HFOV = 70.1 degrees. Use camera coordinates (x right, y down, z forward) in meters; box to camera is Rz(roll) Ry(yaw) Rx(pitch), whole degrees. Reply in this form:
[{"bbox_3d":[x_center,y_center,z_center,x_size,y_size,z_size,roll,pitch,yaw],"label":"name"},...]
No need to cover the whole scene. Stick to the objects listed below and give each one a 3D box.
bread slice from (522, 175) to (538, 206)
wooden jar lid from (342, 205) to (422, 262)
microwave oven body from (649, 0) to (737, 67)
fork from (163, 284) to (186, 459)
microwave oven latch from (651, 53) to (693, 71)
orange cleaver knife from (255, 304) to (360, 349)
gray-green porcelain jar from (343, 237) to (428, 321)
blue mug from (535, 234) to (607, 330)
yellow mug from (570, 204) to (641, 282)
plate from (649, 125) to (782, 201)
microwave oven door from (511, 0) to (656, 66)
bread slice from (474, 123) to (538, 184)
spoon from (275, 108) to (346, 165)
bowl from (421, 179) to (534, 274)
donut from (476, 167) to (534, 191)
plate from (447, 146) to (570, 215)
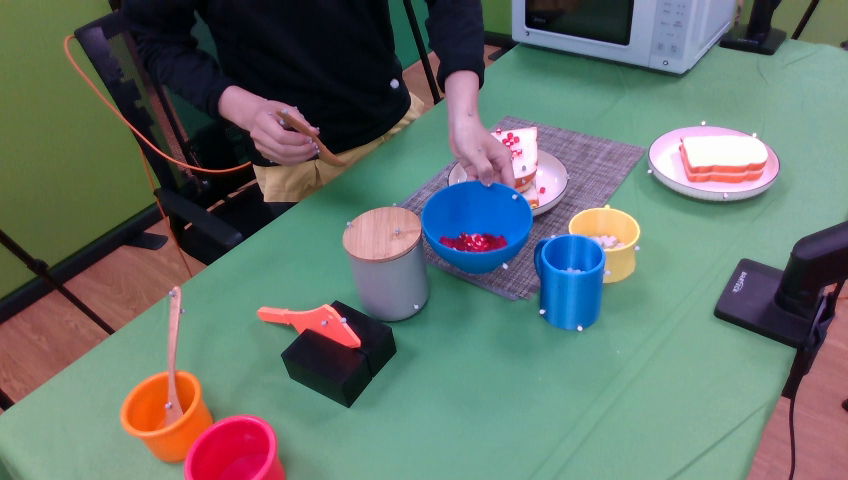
[{"bbox_3d":[0.143,-0.104,1.058,0.105,0.019,0.131,0,44,6],"label":"bread slice"},{"bbox_3d":[-0.055,-0.005,0.808,0.108,0.021,0.108,-6,40,6],"label":"wooden jar lid"},{"bbox_3d":[0.475,-0.602,1.411,0.438,0.261,0.327,23,50,32],"label":"microwave oven body"},{"bbox_3d":[-0.302,0.157,0.733,0.028,0.019,0.207,-3,84,14],"label":"fork"},{"bbox_3d":[0.532,-0.386,1.301,0.078,0.029,0.030,27,52,34],"label":"microwave oven latch"},{"bbox_3d":[-0.161,0.115,0.813,0.210,0.077,0.012,-4,32,47],"label":"orange cleaver knife"},{"bbox_3d":[-0.050,0.042,0.849,0.106,0.127,0.105,-5,41,4],"label":"gray-green porcelain jar"},{"bbox_3d":[0.191,0.048,0.824,0.082,0.106,0.115,-26,44,-20],"label":"blue mug"},{"bbox_3d":[0.268,-0.005,0.904,0.099,0.064,0.130,7,41,15],"label":"yellow mug"},{"bbox_3d":[0.493,-0.128,1.036,0.207,0.039,0.206,-4,41,4],"label":"plate"},{"bbox_3d":[0.351,-0.539,1.348,0.353,0.245,0.039,24,50,31],"label":"microwave oven door"},{"bbox_3d":[0.141,-0.144,1.009,0.107,0.018,0.133,-8,47,8],"label":"bread slice"},{"bbox_3d":[-0.159,-0.143,0.847,0.041,0.195,0.021,17,79,20],"label":"spoon"},{"bbox_3d":[0.073,-0.007,0.826,0.151,0.077,0.150,-3,44,3],"label":"bowl"},{"bbox_3d":[0.138,-0.116,1.025,0.099,0.048,0.098,-8,55,12],"label":"donut"},{"bbox_3d":[0.145,-0.098,1.046,0.209,0.038,0.208,-4,41,4],"label":"plate"}]
